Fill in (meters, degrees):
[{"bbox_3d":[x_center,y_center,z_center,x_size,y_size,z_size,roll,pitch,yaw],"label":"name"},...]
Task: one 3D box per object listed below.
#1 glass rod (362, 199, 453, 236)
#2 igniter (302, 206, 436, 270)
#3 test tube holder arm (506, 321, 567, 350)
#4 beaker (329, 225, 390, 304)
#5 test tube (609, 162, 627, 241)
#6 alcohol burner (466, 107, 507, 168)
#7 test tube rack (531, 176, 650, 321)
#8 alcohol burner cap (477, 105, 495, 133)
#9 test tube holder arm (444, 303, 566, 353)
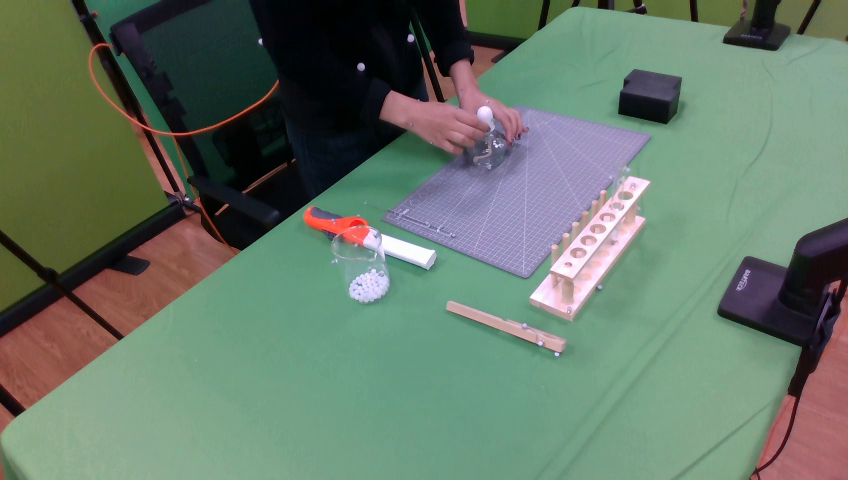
[{"bbox_3d":[-0.031,-0.041,1.041,0.198,0.008,0.008,22,50,31],"label":"glass rod"},{"bbox_3d":[-0.101,-0.007,1.004,0.274,0.025,0.057,19,57,29],"label":"igniter"},{"bbox_3d":[0.148,0.128,0.808,0.087,0.015,0.010,16,10,28],"label":"test tube holder arm"},{"bbox_3d":[-0.089,0.040,0.890,0.074,0.101,0.083,-32,45,-24],"label":"beaker"},{"bbox_3d":[0.277,-0.051,0.864,0.017,0.151,0.017,-6,47,7],"label":"test tube"},{"bbox_3d":[0.114,-0.193,1.112,0.078,0.119,0.077,-4,41,4],"label":"alcohol burner"},{"bbox_3d":[0.246,0.002,0.884,0.066,0.085,0.243,22,49,32],"label":"test tube rack"},{"bbox_3d":[0.110,-0.219,1.087,0.034,0.048,0.033,-6,48,7],"label":"alcohol burner cap"},{"bbox_3d":[0.106,0.117,0.823,0.177,0.015,0.013,16,10,27],"label":"test tube holder arm"}]
